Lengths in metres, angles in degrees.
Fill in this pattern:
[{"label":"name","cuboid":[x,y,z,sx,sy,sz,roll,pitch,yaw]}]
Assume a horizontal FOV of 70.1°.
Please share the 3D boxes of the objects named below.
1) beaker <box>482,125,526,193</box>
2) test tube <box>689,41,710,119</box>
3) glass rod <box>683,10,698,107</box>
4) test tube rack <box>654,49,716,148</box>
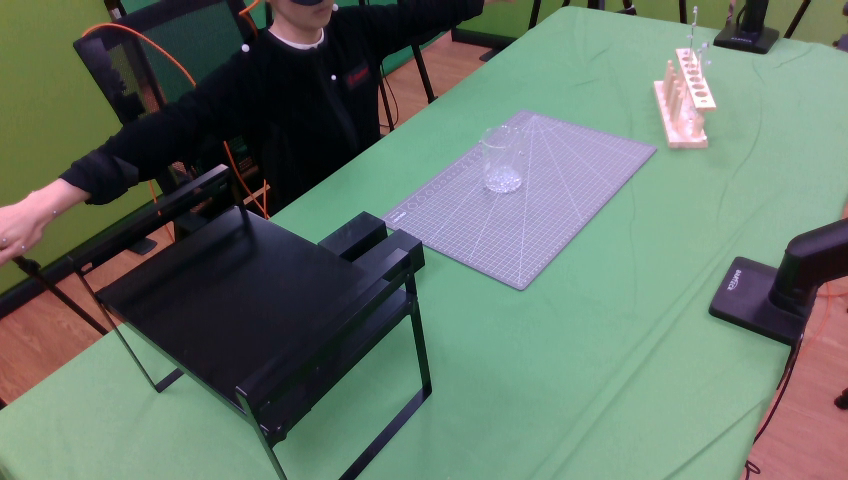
[{"label":"beaker","cuboid":[0.141,-0.141,1.055,0.073,0.101,0.084,10,43,20]},{"label":"test tube","cuboid":[0.506,-0.291,1.112,0.017,0.151,0.017,-5,38,4]},{"label":"glass rod","cuboid":[0.501,-0.336,1.139,0.008,0.201,0.008,-8,43,8]},{"label":"test tube rack","cuboid":[0.502,-0.281,1.176,0.066,0.085,0.241,2,41,11]}]
